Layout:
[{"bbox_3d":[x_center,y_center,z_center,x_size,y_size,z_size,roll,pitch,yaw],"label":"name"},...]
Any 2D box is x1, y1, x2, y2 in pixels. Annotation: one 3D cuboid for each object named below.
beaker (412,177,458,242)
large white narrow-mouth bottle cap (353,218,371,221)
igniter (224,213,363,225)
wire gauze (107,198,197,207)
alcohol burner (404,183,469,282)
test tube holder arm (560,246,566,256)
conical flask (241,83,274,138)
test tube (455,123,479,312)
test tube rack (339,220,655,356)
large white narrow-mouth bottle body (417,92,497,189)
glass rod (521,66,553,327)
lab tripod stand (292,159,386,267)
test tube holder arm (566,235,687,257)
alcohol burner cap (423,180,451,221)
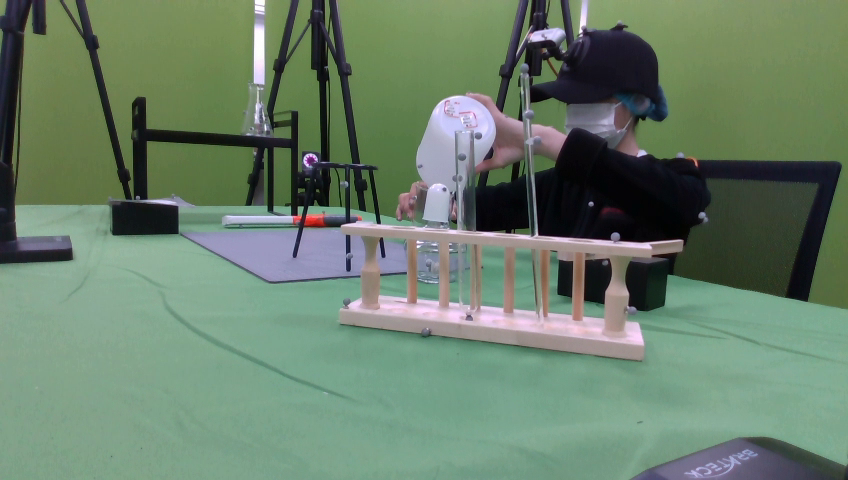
[{"bbox_3d":[0.019,-0.052,1.060,0.074,0.100,0.083,-9,25,-38],"label":"beaker"},{"bbox_3d":[-0.121,-0.029,1.184,0.038,0.024,0.037,2,8,0],"label":"large white narrow-mouth bottle cap"},{"bbox_3d":[-0.255,-0.041,1.210,0.278,0.025,0.057,-2,-2,-31],"label":"igniter"},{"bbox_3d":[-0.462,-0.064,1.023,0.126,0.011,0.121,-2,7,-32],"label":"wire gauze"},{"bbox_3d":[0.015,-0.011,0.715,0.078,0.119,0.078,0,7,0],"label":"alcohol burner"},{"bbox_3d":[0.173,0.007,0.611,0.088,0.015,0.010,-3,9,-30],"label":"test tube holder arm"},{"bbox_3d":[-0.384,-0.297,1.393,0.075,0.122,0.075,2,7,0],"label":"conical flask"},{"bbox_3d":[0.034,-0.016,0.476,0.017,0.150,0.017,-2,10,1],"label":"test tube"},{"bbox_3d":[0.056,0.032,0.495,0.242,0.085,0.067,4,7,15],"label":"test tube rack"},{"bbox_3d":[0.042,-0.139,0.961,0.102,0.101,0.194,0,-25,-14],"label":"large white narrow-mouth bottle body"},{"bbox_3d":[0.085,-0.028,0.454,0.008,0.199,0.008,-7,10,2],"label":"glass rod"},{"bbox_3d":[-0.105,-0.039,0.798,0.148,0.131,0.148,2,5,0],"label":"lab tripod stand"},{"bbox_3d":[0.215,0.006,0.629,0.179,0.015,0.013,-3,9,-30],"label":"test tube holder arm"},{"bbox_3d":[0.017,-0.047,0.711,0.034,0.048,0.034,8,5,0],"label":"alcohol burner cap"}]
